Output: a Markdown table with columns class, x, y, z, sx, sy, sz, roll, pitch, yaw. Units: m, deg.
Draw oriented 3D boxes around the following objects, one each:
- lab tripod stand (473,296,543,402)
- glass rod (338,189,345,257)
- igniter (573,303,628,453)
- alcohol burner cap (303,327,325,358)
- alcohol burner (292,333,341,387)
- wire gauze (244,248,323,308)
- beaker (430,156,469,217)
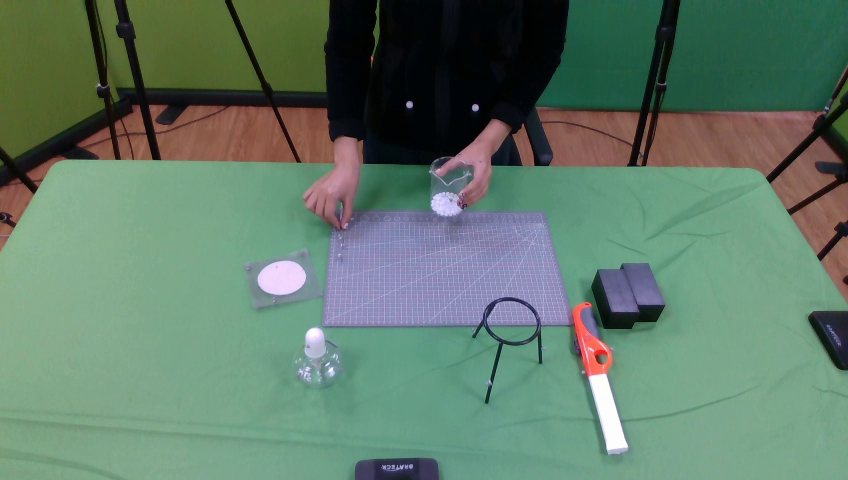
| class | x | y | z | sx | sy | sz | roll | pitch | yaw |
| --- | --- | --- | --- | --- | --- | --- | --- | --- | --- |
| lab tripod stand | 0.132 | 0.168 | 0.969 | 0.148 | 0.132 | 0.147 | 3 | 48 | -3 |
| glass rod | -0.166 | -0.039 | 1.227 | 0.008 | 0.008 | 0.198 | 0 | 45 | -4 |
| igniter | 0.288 | 0.216 | 1.006 | 0.057 | 0.025 | 0.274 | -9 | 46 | 8 |
| alcohol burner cap | -0.169 | 0.154 | 0.925 | 0.034 | 0.048 | 0.033 | 4 | 42 | -4 |
| alcohol burner | -0.170 | 0.179 | 0.950 | 0.078 | 0.120 | 0.077 | 2 | 48 | -2 |
| wire gauze | -0.262 | 0.071 | 1.121 | 0.125 | 0.011 | 0.120 | -11 | 48 | -17 |
| beaker | 0.047 | -0.100 | 1.175 | 0.074 | 0.101 | 0.083 | 5 | 44 | 4 |
